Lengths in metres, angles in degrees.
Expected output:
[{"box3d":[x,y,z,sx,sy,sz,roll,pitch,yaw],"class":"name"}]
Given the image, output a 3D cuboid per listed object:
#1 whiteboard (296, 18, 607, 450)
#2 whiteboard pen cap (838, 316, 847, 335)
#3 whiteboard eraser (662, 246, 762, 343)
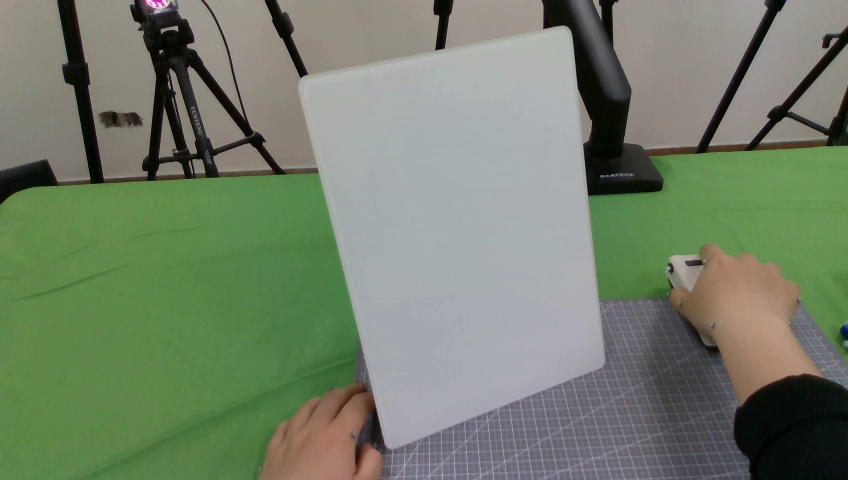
[{"box3d":[0.019,-0.015,0.540,0.218,0.307,0.142,-16,19,-16],"class":"whiteboard"},{"box3d":[0.404,0.086,0.564,0.018,0.018,0.033,-4,35,-1],"class":"whiteboard pen cap"},{"box3d":[0.280,0.052,0.596,0.055,0.042,0.111,-6,38,3],"class":"whiteboard eraser"}]
